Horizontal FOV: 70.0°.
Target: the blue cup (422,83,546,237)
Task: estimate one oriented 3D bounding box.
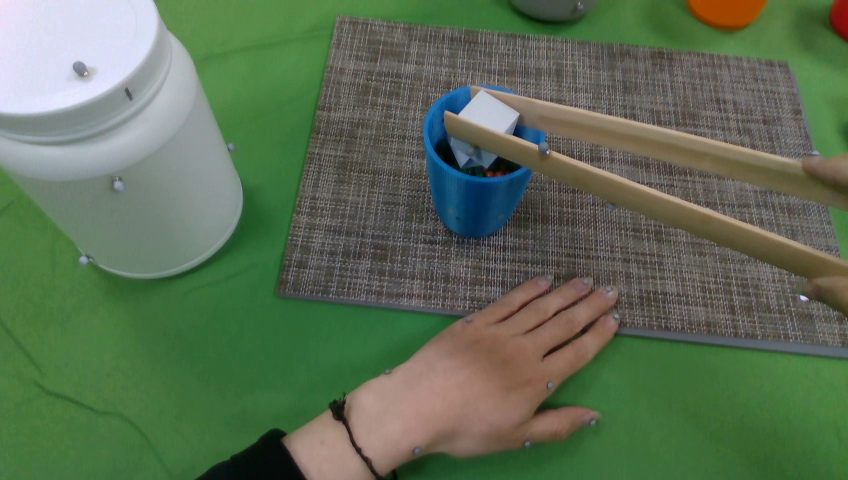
[{"bbox_3d":[0.041,-0.051,0.457,0.092,0.101,0.092,0,62,0],"label":"blue cup"}]

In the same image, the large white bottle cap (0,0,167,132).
[{"bbox_3d":[-0.203,-0.109,0.334,0.115,0.018,0.114,2,61,-3],"label":"large white bottle cap"}]

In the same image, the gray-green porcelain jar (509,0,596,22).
[{"bbox_3d":[0.131,-0.286,0.578,0.106,0.127,0.105,1,62,-2],"label":"gray-green porcelain jar"}]

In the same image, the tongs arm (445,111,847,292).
[{"bbox_3d":[0.182,-0.013,0.321,0.382,0.027,0.050,27,66,25],"label":"tongs arm"}]

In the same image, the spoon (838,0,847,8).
[{"bbox_3d":[0.490,-0.235,0.562,0.041,0.022,0.192,-35,25,-19],"label":"spoon"}]

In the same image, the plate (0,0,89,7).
[{"bbox_3d":[-0.364,-0.304,0.609,0.208,0.039,0.206,2,62,-3],"label":"plate"}]

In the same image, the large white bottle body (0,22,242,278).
[{"bbox_3d":[-0.207,-0.068,0.408,0.131,0.186,0.129,2,62,-3],"label":"large white bottle body"}]

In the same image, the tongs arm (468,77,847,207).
[{"bbox_3d":[0.194,-0.030,0.330,0.385,0.028,0.028,23,61,23],"label":"tongs arm"}]

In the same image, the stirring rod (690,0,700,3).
[{"bbox_3d":[0.342,-0.285,0.584,0.176,0.006,0.014,-28,60,30],"label":"stirring rod"}]
